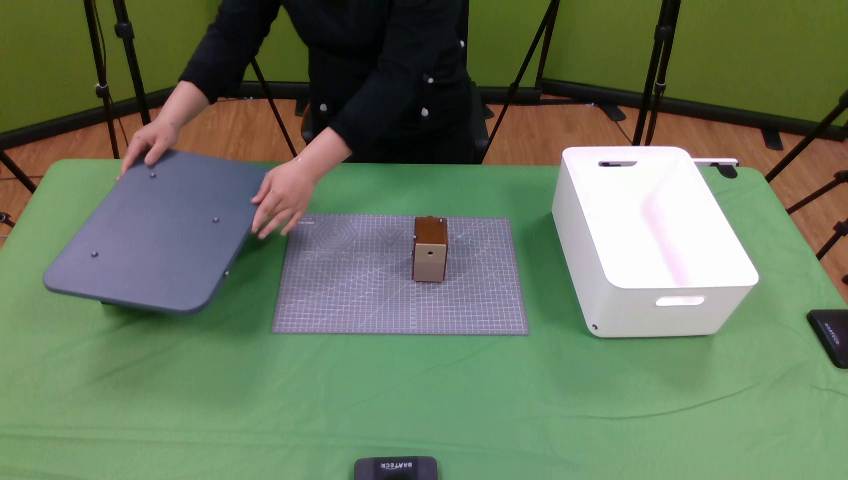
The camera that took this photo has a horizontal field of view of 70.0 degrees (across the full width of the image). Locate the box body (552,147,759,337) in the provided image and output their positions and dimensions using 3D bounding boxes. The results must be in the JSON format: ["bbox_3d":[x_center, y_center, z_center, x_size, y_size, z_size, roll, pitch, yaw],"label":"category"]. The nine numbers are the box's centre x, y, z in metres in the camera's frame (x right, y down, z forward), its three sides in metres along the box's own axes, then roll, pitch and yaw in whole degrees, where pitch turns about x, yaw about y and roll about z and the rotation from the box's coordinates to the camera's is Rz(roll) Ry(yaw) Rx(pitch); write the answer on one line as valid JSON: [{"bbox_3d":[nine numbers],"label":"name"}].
[{"bbox_3d":[0.401,-0.001,1.131,0.254,0.161,0.361,-1,46,-5],"label":"box body"}]

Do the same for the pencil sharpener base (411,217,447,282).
[{"bbox_3d":[0.009,0.017,1.118,0.061,0.107,0.076,1,45,-2],"label":"pencil sharpener base"}]

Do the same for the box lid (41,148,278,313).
[{"bbox_3d":[-0.427,-0.032,1.025,0.263,0.015,0.369,9,44,3],"label":"box lid"}]

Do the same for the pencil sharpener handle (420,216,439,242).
[{"bbox_3d":[0.008,-0.027,1.145,0.036,0.068,0.030,5,45,-5],"label":"pencil sharpener handle"}]
